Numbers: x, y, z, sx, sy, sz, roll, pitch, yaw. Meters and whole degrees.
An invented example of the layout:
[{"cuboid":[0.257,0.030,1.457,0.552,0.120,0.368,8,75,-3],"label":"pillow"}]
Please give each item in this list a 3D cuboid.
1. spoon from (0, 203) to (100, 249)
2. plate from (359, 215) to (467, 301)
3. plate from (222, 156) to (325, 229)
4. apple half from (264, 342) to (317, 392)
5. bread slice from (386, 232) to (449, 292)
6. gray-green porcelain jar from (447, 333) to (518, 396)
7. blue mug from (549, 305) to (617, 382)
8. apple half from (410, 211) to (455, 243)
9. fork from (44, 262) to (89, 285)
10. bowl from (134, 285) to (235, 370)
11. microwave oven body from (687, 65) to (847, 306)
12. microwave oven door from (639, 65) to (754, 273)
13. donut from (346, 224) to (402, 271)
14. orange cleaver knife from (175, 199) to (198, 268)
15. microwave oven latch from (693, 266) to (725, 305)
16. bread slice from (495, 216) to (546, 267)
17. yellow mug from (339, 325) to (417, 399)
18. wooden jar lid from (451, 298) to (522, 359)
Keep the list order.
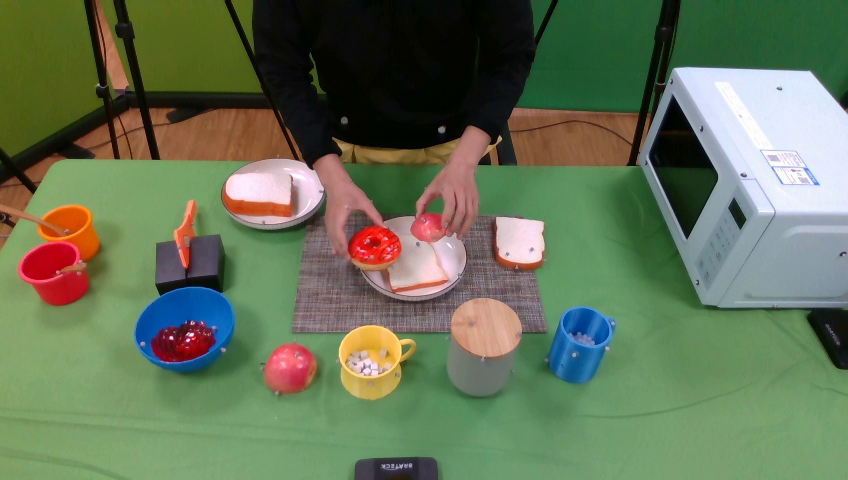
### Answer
[{"cuboid":[-0.683,-0.031,1.088,0.195,0.021,0.041,33,33,-38],"label":"spoon"},{"cuboid":[-0.022,0.037,1.142,0.208,0.039,0.206,2,46,-2],"label":"plate"},{"cuboid":[-0.308,-0.095,1.251,0.209,0.038,0.208,2,47,-2],"label":"plate"},{"cuboid":[-0.214,0.198,0.970,0.074,0.053,0.080,19,48,10],"label":"apple half"},{"cuboid":[-0.026,0.039,1.141,0.107,0.018,0.133,-12,49,-15],"label":"bread slice"},{"cuboid":[0.091,0.178,0.960,0.106,0.127,0.105,2,46,-2],"label":"gray-green porcelain jar"},{"cuboid":[0.269,0.166,0.998,0.116,0.106,0.082,-19,51,-21],"label":"blue mug"},{"cuboid":[0.011,-0.031,1.059,0.081,0.033,0.081,-2,36,2],"label":"apple half"},{"cuboid":[-0.598,0.054,1.014,0.207,0.019,0.028,-15,28,45],"label":"fork"},{"cuboid":[-0.377,0.155,0.981,0.151,0.077,0.150,2,46,-2],"label":"bowl"},{"cuboid":[0.669,-0.111,1.176,0.326,0.261,0.439,0,46,-3],"label":"microwave oven body"},{"cuboid":[0.522,-0.147,1.192,0.039,0.245,0.353,0,47,-3],"label":"microwave oven door"},{"cuboid":[-0.088,0.013,1.067,0.099,0.048,0.098,-2,45,2],"label":"donut"},{"cuboid":[-0.438,-0.017,1.138,0.012,0.077,0.210,-13,27,-7],"label":"orange cleaver knife"},{"cuboid":[0.523,0.082,1.115,0.030,0.029,0.078,3,46,0],"label":"microwave oven latch"},{"cuboid":[0.194,0.002,1.204,0.105,0.019,0.131,6,45,2],"label":"bread slice"},{"cuboid":[-0.072,0.190,0.978,0.131,0.064,0.099,-17,50,-20],"label":"yellow mug"},{"cuboid":[0.093,0.135,0.914,0.108,0.021,0.107,2,48,-3],"label":"wooden jar lid"}]
